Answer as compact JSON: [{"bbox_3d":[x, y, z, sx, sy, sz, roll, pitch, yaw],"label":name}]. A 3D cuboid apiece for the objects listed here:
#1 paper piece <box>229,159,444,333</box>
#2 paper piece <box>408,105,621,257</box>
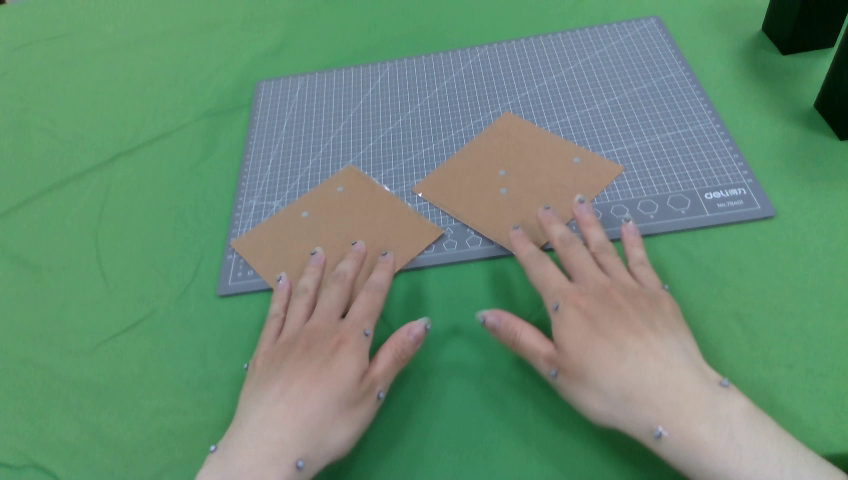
[{"bbox_3d":[-0.077,-0.004,0.516,0.138,0.009,0.134,-38,52,-18],"label":"paper piece"},{"bbox_3d":[0.078,-0.058,0.531,0.135,0.004,0.134,-41,55,-22],"label":"paper piece"}]
